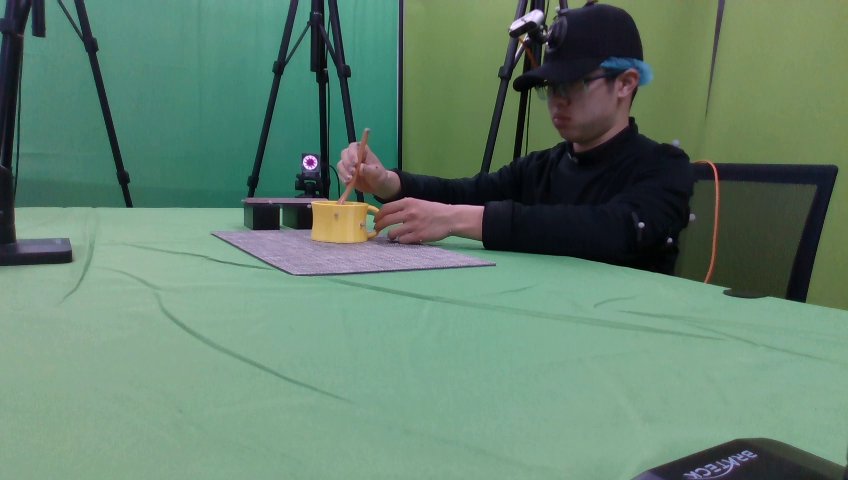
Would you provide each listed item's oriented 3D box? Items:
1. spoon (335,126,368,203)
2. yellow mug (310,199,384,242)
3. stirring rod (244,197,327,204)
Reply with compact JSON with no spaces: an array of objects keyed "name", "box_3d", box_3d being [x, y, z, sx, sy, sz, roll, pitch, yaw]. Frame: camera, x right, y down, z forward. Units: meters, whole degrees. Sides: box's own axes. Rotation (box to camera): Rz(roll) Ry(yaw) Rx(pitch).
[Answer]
[{"name":"spoon","box_3d":[-0.127,-0.101,1.031,0.022,0.193,0.041,22,-1,-16]},{"name":"yellow mug","box_3d":[-0.132,-0.035,1.054,0.131,0.064,0.099,0,8,-23]},{"name":"stirring rod","box_3d":[-0.270,-0.078,1.201,0.177,0.006,0.014,-2,44,-37]}]
